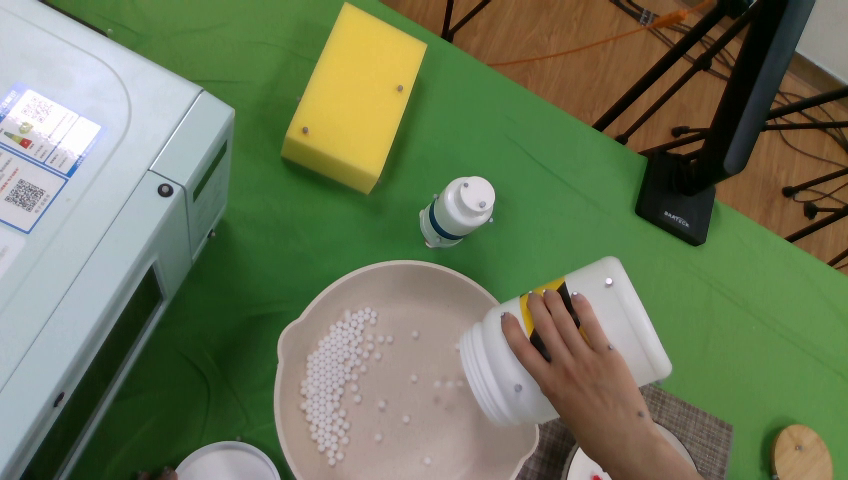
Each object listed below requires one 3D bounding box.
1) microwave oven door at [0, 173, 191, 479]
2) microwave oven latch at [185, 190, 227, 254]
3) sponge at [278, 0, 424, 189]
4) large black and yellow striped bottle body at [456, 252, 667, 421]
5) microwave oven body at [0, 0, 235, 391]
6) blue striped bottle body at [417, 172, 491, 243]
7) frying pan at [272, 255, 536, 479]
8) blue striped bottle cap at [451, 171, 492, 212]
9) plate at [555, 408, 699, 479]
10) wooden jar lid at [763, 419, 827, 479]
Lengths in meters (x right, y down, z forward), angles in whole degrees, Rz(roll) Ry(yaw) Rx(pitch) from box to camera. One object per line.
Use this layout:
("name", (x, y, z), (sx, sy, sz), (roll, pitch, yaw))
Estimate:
("microwave oven door", (-0.291, 0.133, 0.477), (0.039, 0.244, 0.354), (27, 67, -10))
("microwave oven latch", (-0.242, -0.025, 0.652), (0.030, 0.029, 0.079), (30, 67, -10))
("sponge", (-0.089, -0.184, 0.761), (0.119, 0.061, 0.205), (22, 69, -13))
("large black and yellow striped bottle body", (0.138, 0.106, 0.628), (0.184, 0.131, 0.130), (-26, 83, 15))
("microwave oven body", (-0.405, 0.032, 0.470), (0.327, 0.260, 0.439), (28, 68, -11))
("blue striped bottle body", (0.038, -0.041, 0.735), (0.063, 0.121, 0.062), (6, 73, -18))
("frying pan", (-0.053, 0.249, 0.626), (0.308, 0.103, 0.484), (26, 60, -9))
("blue striped bottle cap", (0.055, -0.056, 0.689), (0.045, 0.020, 0.044), (5, 75, -18))
("plate", (0.249, 0.317, 0.753), (0.210, 0.038, 0.208), (6, 73, -18))
("wooden jar lid", (0.533, 0.313, 0.873), (0.109, 0.021, 0.108), (5, 74, -18))
